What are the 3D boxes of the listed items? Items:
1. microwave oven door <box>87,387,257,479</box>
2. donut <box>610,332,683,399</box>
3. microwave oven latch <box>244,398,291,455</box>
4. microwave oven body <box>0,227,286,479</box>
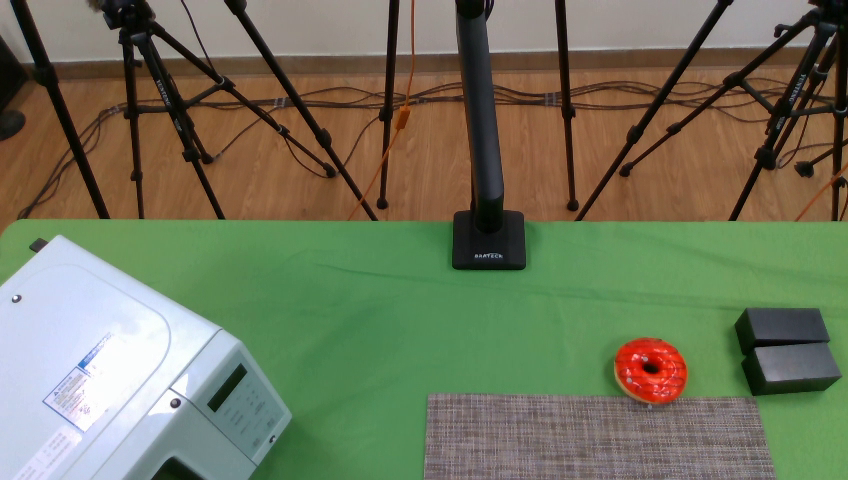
[{"bbox_3d":[-0.333,0.344,0.629,0.039,0.246,0.354,24,60,20],"label":"microwave oven door"},{"bbox_3d":[0.309,0.174,0.844,0.099,0.049,0.098,-4,52,6],"label":"donut"},{"bbox_3d":[-0.213,0.246,0.814,0.030,0.030,0.079,26,62,20],"label":"microwave oven latch"},{"bbox_3d":[-0.437,0.261,0.701,0.324,0.262,0.440,25,61,19],"label":"microwave oven body"}]
